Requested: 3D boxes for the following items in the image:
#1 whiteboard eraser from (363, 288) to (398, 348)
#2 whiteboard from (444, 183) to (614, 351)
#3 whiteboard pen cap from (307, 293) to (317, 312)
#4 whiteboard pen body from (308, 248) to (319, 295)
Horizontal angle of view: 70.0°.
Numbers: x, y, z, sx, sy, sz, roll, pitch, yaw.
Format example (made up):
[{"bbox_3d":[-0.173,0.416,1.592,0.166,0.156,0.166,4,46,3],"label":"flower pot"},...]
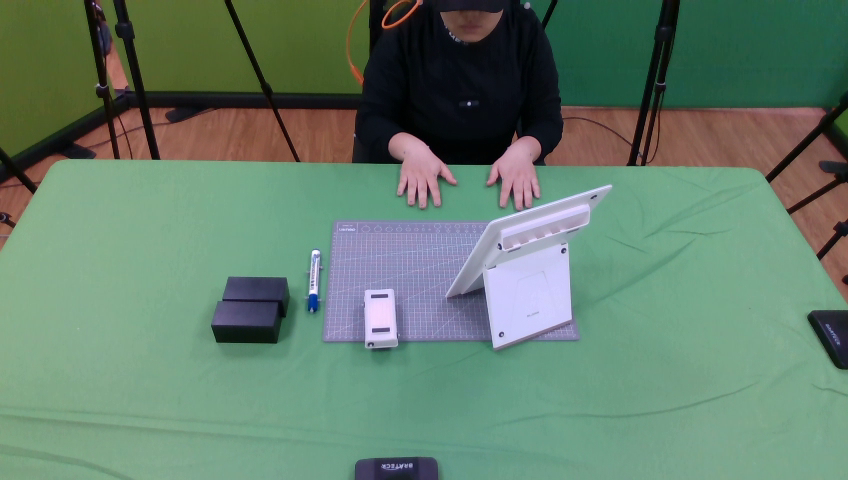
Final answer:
[{"bbox_3d":[-0.076,0.136,1.042,0.056,0.042,0.112,-1,46,-7],"label":"whiteboard eraser"},{"bbox_3d":[0.186,0.065,0.990,0.217,0.306,0.143,-16,68,-19],"label":"whiteboard"},{"bbox_3d":[-0.199,0.110,1.078,0.018,0.018,0.033,-2,47,-6],"label":"whiteboard pen cap"},{"bbox_3d":[-0.204,0.069,1.119,0.017,0.017,0.140,-1,46,-5],"label":"whiteboard pen body"}]
